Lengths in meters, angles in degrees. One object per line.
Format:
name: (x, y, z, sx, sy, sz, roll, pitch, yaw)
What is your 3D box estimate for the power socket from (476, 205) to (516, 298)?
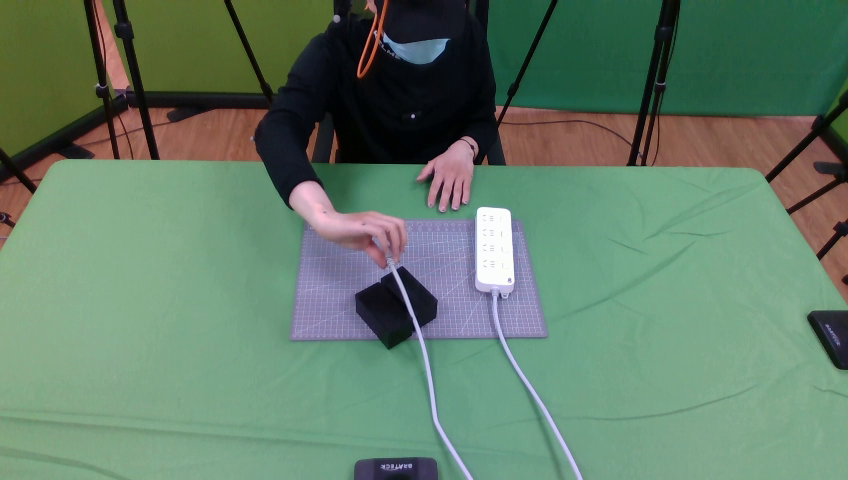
power socket: (0.139, 0.013, 1.178, 0.072, 0.033, 0.225, 4, 47, 2)

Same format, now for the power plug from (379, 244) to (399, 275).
power plug: (-0.063, 0.039, 1.062, 0.035, 0.053, 0.072, 3, 58, 1)
